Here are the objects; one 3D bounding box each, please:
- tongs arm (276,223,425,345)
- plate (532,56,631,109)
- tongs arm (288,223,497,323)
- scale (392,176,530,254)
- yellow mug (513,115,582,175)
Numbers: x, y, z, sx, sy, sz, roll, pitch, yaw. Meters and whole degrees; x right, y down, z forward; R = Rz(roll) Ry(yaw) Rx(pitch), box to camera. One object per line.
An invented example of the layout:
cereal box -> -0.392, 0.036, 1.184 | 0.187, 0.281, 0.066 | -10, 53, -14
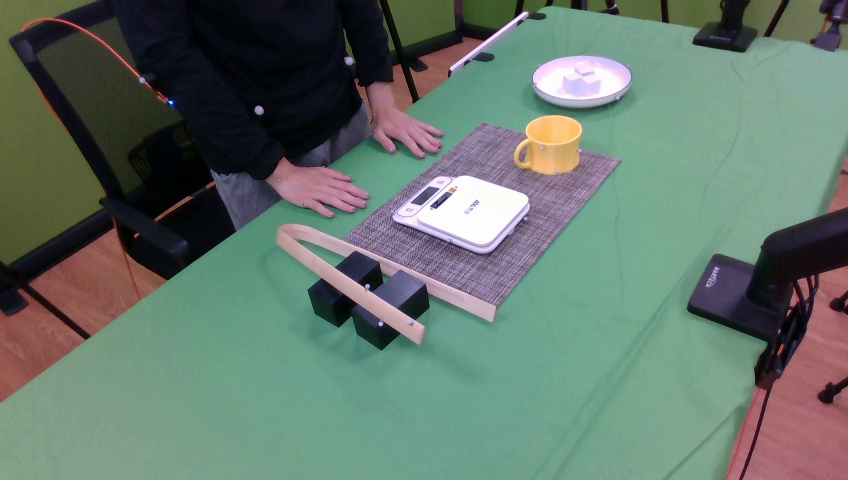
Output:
tongs arm -> -0.114, 0.049, 0.856 | 0.051, 0.026, 0.381 | -7, 24, -44
plate -> 0.336, -0.336, 1.301 | 0.207, 0.039, 0.206 | -4, 41, 4
tongs arm -> -0.060, 0.043, 0.918 | 0.384, 0.028, 0.028 | 21, 24, 28
scale -> 0.060, -0.050, 1.006 | 0.199, 0.032, 0.149 | 22, 48, 30
yellow mug -> 0.220, -0.168, 1.094 | 0.131, 0.064, 0.099 | -21, 42, -14
